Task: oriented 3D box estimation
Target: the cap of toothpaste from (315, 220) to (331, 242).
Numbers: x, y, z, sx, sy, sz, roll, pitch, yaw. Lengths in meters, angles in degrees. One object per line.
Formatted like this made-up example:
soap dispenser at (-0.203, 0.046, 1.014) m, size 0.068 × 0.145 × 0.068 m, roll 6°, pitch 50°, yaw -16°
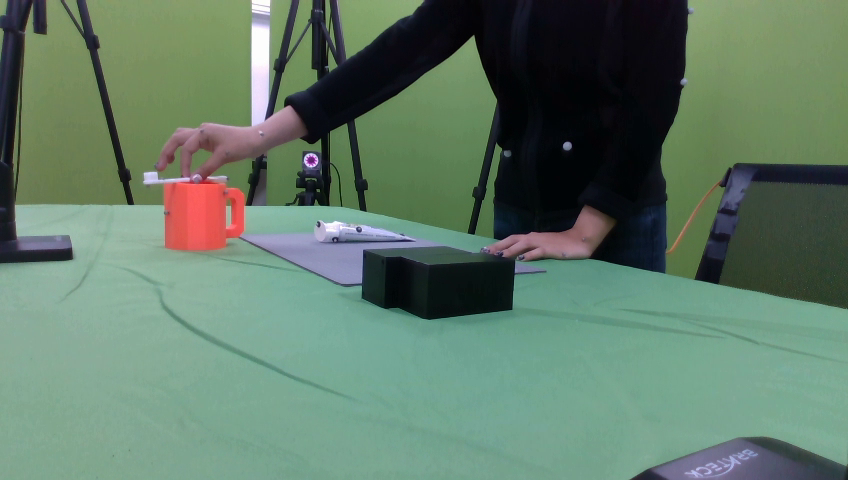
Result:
cap of toothpaste at (-0.164, -0.015, 0.982) m, size 0.011 × 0.037 × 0.037 m, roll -9°, pitch 12°, yaw -43°

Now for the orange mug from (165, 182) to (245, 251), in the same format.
orange mug at (-0.326, -0.040, 0.911) m, size 0.083 × 0.101 × 0.127 m, roll 8°, pitch 13°, yaw 37°

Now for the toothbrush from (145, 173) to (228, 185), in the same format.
toothbrush at (-0.341, -0.089, 0.881) m, size 0.014 × 0.016 × 0.182 m, roll -9°, pitch 4°, yaw 17°

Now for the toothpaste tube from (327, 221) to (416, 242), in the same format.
toothpaste tube at (-0.095, -0.012, 1.026) m, size 0.166 × 0.034 × 0.055 m, roll 2°, pitch 13°, yaw -33°
